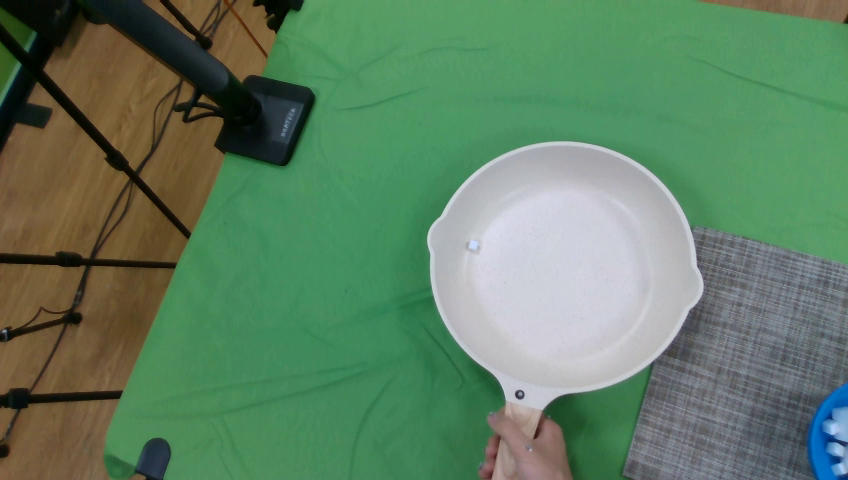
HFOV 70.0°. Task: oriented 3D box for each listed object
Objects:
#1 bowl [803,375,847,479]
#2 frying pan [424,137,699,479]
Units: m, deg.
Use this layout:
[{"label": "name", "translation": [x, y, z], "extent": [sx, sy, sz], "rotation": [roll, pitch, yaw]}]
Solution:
[{"label": "bowl", "translation": [0.443, 0.204, 0.591], "extent": [0.151, 0.077, 0.150], "rotation": [-3, 74, 11]}, {"label": "frying pan", "translation": [0.121, 0.118, 0.671], "extent": [0.305, 0.103, 0.485], "rotation": [13, 69, 15]}]
